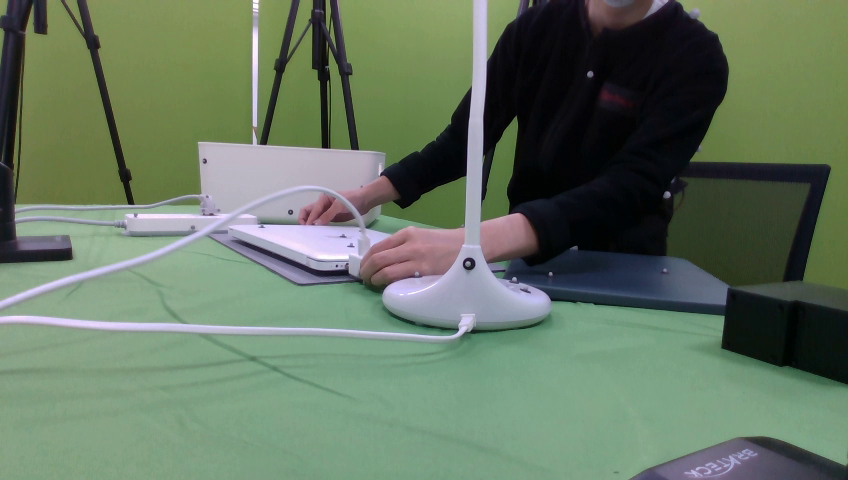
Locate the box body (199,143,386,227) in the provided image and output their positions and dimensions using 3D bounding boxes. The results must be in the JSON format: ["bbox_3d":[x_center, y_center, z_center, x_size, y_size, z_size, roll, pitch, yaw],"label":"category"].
[{"bbox_3d":[-0.276,-0.124,1.335,0.364,0.160,0.254,3,7,1],"label":"box body"}]

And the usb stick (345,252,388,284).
[{"bbox_3d":[-0.067,0.030,0.682,0.021,0.027,0.059,-13,18,-43],"label":"usb stick"}]

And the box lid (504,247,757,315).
[{"bbox_3d":[0.244,0.044,0.793,0.263,0.015,0.372,4,7,11],"label":"box lid"}]

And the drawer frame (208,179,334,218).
[{"bbox_3d":[-0.327,-0.093,1.328,0.213,0.082,0.202,0,5,6],"label":"drawer frame"}]

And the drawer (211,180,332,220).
[{"bbox_3d":[-0.328,-0.095,1.332,0.212,0.073,0.194,5,8,6],"label":"drawer"}]

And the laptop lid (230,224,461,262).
[{"bbox_3d":[-0.120,0.000,0.889,0.243,0.013,0.355,1,7,-33],"label":"laptop lid"}]

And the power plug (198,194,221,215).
[{"bbox_3d":[-0.387,-0.055,1.089,0.035,0.052,0.072,-1,7,-22],"label":"power plug"}]

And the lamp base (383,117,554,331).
[{"bbox_3d":[0.045,-0.019,0.547,0.161,0.180,0.179,2,10,-4],"label":"lamp base"}]

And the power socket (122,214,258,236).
[{"bbox_3d":[-0.399,-0.028,1.049,0.228,0.032,0.072,-3,8,-34],"label":"power socket"}]

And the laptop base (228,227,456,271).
[{"bbox_3d":[-0.122,0.012,0.889,0.237,0.023,0.352,2,6,-35],"label":"laptop base"}]

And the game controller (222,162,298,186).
[{"bbox_3d":[-0.357,-0.143,1.322,0.156,0.051,0.097,1,2,-16],"label":"game controller"}]
